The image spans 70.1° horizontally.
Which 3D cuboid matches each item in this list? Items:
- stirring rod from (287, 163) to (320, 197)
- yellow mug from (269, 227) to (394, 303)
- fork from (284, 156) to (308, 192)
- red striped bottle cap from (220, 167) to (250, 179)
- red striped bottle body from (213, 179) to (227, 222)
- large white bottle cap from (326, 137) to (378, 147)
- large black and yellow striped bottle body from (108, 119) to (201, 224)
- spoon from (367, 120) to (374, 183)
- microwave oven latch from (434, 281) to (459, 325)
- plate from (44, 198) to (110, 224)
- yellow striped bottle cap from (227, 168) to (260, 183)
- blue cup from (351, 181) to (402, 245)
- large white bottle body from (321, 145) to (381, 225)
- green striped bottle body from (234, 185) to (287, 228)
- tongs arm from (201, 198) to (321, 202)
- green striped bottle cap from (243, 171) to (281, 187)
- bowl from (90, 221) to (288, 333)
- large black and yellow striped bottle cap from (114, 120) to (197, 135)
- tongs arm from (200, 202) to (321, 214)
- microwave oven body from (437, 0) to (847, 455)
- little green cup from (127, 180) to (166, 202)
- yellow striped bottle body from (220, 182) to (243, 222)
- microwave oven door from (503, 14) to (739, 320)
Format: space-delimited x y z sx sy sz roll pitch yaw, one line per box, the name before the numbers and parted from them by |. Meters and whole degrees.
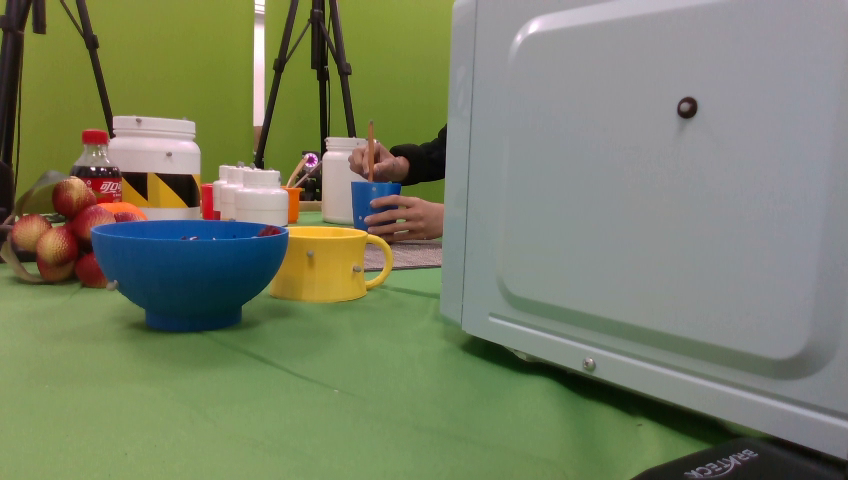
stirring rod | -0.283 -0.107 1.298 0.014 0.006 0.176 10 53 50
yellow mug | -0.094 0.023 0.629 0.131 0.064 0.099 0 7 -22
fork | -0.295 -0.116 1.323 0.028 0.019 0.207 1 50 21
red striped bottle cap | -0.281 -0.100 0.901 0.044 0.017 0.044 -1 5 0
red striped bottle body | -0.284 -0.048 0.910 0.063 0.119 0.063 3 12 0
large white bottle cap | -0.158 -0.214 1.329 0.115 0.018 0.115 2 8 0
large black and yellow striped bottle body | -0.412 -0.088 0.930 0.131 0.184 0.130 3 7 0
spoon | -0.094 -0.106 1.017 0.021 0.193 0.041 6 -5 0
microwave oven latch | 0.044 0.045 0.470 0.079 0.029 0.030 -2 8 -39
plate | -0.617 -0.056 1.179 0.209 0.038 0.209 3 7 0
yellow striped bottle cap | -0.243 -0.087 0.818 0.044 0.018 0.044 3 6 0
blue cup | -0.082 -0.045 1.014 0.093 0.100 0.092 4 7 0
large white bottle body | -0.162 -0.131 1.340 0.131 0.184 0.130 2 8 0
green striped bottle body | -0.201 -0.023 0.743 0.063 0.119 0.063 2 7 0
tongs arm | -0.433 -0.090 1.508 0.390 0.028 0.028 -1 2 -29
green striped bottle cap | -0.197 -0.074 0.736 0.044 0.020 0.044 1 8 0
bowl | -0.190 0.029 0.500 0.151 0.077 0.151 3 7 0
large black and yellow striped bottle cap | -0.407 -0.171 0.920 0.115 0.019 0.115 2 9 0
tongs arm | -0.378 -0.079 1.440 0.387 0.026 0.050 -4 7 -44
microwave oven body | 0.279 -0.040 0.465 0.444 0.260 0.324 -3 9 -41
little green cup | -0.485 -0.086 1.061 0.061 0.038 0.061 1 7 0
yellow striped bottle body | -0.245 -0.036 0.825 0.063 0.120 0.063 3 8 0
microwave oven door | 0.218 -0.065 0.600 0.358 0.243 0.039 -4 10 -41
